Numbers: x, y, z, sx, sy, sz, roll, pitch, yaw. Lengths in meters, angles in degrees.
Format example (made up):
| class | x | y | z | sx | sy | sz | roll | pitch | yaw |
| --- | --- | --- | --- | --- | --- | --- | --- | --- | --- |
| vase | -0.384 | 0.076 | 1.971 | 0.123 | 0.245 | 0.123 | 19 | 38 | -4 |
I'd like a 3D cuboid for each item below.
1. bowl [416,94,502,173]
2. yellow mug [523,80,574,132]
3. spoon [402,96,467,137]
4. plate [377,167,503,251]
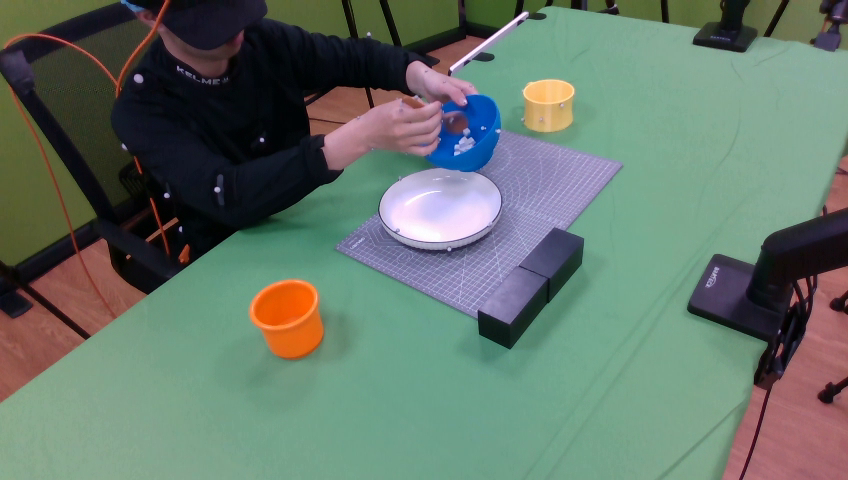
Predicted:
| class | x | y | z | sx | sy | sz | roll | pitch | yaw |
| --- | --- | --- | --- | --- | --- | --- | --- | --- | --- |
| bowl | 0.071 | -0.167 | 1.028 | 0.151 | 0.077 | 0.150 | -17 | 46 | 19 |
| yellow mug | 0.242 | -0.278 | 1.224 | 0.100 | 0.064 | 0.129 | -24 | 42 | -18 |
| spoon | 0.020 | -0.200 | 0.972 | 0.041 | 0.195 | 0.021 | -42 | 70 | 19 |
| plate | 0.027 | -0.050 | 1.007 | 0.209 | 0.038 | 0.208 | -4 | 41 | 4 |
